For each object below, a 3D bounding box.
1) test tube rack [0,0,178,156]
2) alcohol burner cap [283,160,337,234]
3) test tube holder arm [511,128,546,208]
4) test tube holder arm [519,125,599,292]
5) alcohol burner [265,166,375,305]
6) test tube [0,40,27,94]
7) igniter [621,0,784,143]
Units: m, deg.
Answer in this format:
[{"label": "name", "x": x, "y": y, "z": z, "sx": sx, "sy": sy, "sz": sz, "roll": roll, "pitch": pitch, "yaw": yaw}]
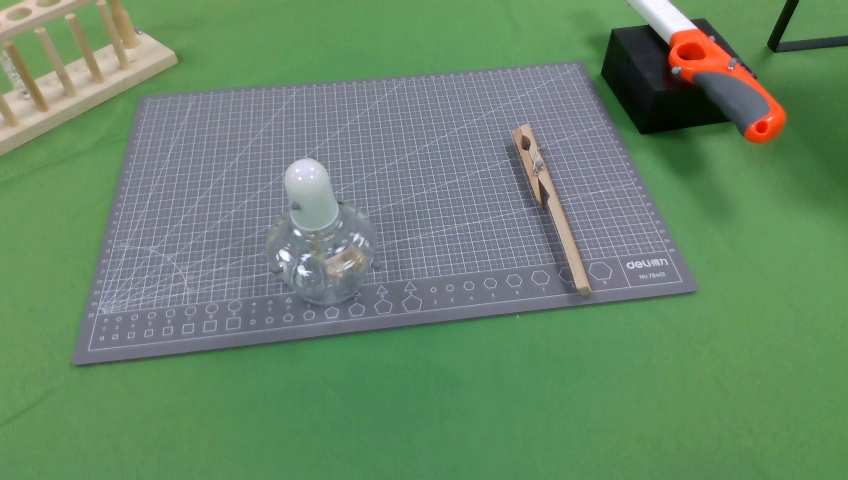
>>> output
[{"label": "test tube rack", "x": -0.363, "y": -0.159, "z": 0.562, "sx": 0.066, "sy": 0.086, "sz": 0.242, "roll": 34, "pitch": 58, "yaw": 25}, {"label": "alcohol burner cap", "x": -0.075, "y": -0.030, "z": 0.389, "sx": 0.034, "sy": 0.048, "sz": 0.033, "roll": 0, "pitch": 53, "yaw": 0}, {"label": "test tube holder arm", "x": 0.093, "y": -0.063, "z": 0.527, "sx": 0.010, "sy": 0.015, "sz": 0.087, "roll": -32, "pitch": 49, "yaw": 22}, {"label": "test tube holder arm", "x": 0.107, "y": -0.032, "z": 0.497, "sx": 0.013, "sy": 0.015, "sz": 0.176, "roll": -33, "pitch": 48, "yaw": 21}, {"label": "alcohol burner", "x": -0.074, "y": -0.008, "z": 0.417, "sx": 0.078, "sy": 0.120, "sz": 0.077, "roll": 0, "pitch": 52, "yaw": 1}, {"label": "test tube", "x": -0.385, "y": -0.194, "z": 0.527, "sx": 0.017, "sy": 0.151, "sz": 0.017, "roll": 0, "pitch": 46, "yaw": 0}, {"label": "igniter", "x": 0.241, "y": -0.180, "z": 0.558, "sx": 0.057, "sy": 0.025, "sz": 0.273, "roll": -12, "pitch": 49, "yaw": -6}]
